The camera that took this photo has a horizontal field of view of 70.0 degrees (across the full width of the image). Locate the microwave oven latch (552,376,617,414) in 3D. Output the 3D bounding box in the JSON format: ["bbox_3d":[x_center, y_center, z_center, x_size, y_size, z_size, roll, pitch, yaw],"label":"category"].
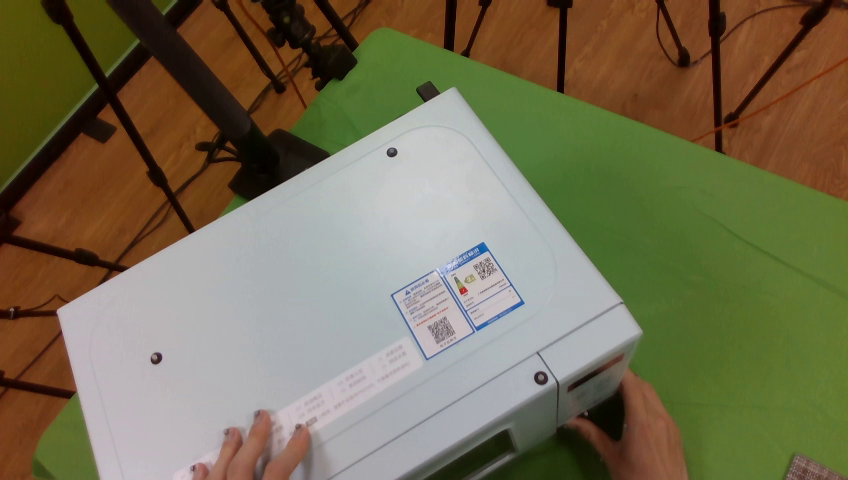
[{"bbox_3d":[0.170,0.161,0.662,0.079,0.030,0.030,-26,64,-1],"label":"microwave oven latch"}]

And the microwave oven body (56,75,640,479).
[{"bbox_3d":[-0.071,0.100,0.629,0.442,0.262,0.323,-31,64,-3],"label":"microwave oven body"}]

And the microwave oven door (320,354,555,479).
[{"bbox_3d":[-0.039,0.229,0.557,0.356,0.246,0.039,-30,62,-4],"label":"microwave oven door"}]
